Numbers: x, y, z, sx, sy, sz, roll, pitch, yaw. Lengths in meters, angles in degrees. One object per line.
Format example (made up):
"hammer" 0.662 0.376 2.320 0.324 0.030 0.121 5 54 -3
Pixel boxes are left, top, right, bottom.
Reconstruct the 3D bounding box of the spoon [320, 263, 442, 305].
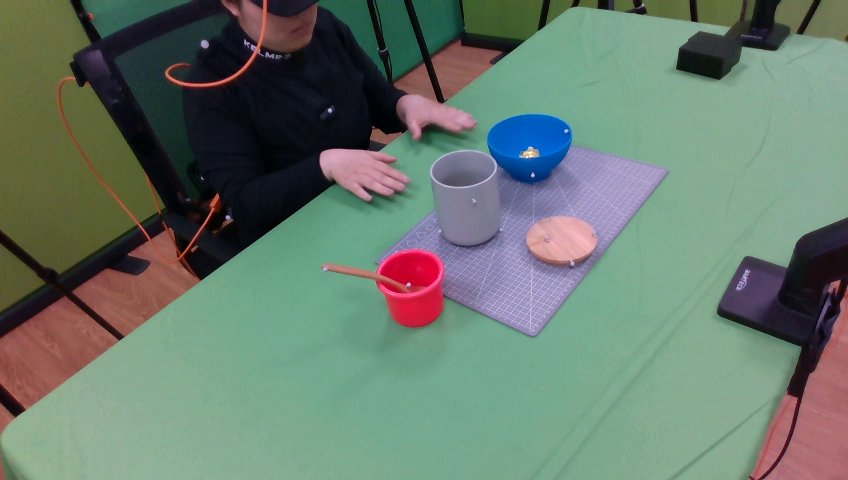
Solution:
"spoon" -0.055 0.057 0.831 0.195 0.021 0.041 22 26 -34

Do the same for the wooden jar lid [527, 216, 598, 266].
"wooden jar lid" 0.214 0.003 0.937 0.108 0.021 0.108 -4 40 4

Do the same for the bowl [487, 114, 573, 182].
"bowl" 0.190 -0.156 1.085 0.151 0.077 0.150 -5 40 5

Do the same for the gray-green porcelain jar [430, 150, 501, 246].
"gray-green porcelain jar" 0.068 -0.062 0.958 0.106 0.127 0.105 -5 40 5
